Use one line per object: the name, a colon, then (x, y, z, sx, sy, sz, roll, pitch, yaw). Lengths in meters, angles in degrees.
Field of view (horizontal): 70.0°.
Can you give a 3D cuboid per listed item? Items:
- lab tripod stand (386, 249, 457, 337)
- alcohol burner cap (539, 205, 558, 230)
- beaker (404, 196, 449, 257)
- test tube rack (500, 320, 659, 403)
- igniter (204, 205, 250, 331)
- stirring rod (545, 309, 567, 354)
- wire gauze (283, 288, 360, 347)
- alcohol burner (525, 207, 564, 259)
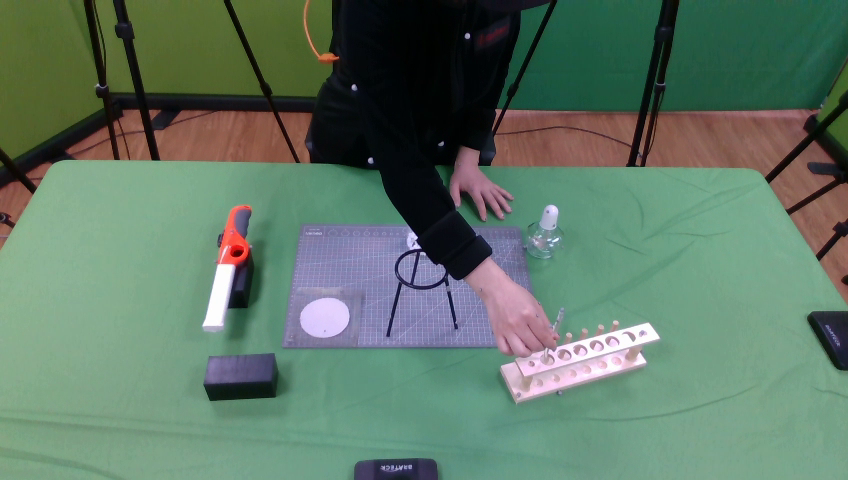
lab tripod stand: (-0.010, 0.087, 1.032, 0.148, 0.132, 0.147, 1, 45, -1)
alcohol burner cap: (0.239, -0.045, 1.148, 0.034, 0.048, 0.033, 2, 42, -1)
beaker: (0.002, -0.023, 1.164, 0.084, 0.101, 0.073, 6, 46, 0)
test tube rack: (0.253, 0.187, 0.994, 0.243, 0.085, 0.066, -12, 48, -15)
igniter: (-0.344, 0.039, 1.064, 0.057, 0.025, 0.274, 2, 48, -6)
stirring rod: (0.189, 0.137, 0.878, 0.014, 0.177, 0.006, 10, 62, 10)
wire gauze: (-0.177, 0.132, 1.063, 0.125, 0.011, 0.120, 2, 47, 1)
alcohol burner: (0.236, -0.020, 1.174, 0.078, 0.120, 0.077, 1, 48, -1)
